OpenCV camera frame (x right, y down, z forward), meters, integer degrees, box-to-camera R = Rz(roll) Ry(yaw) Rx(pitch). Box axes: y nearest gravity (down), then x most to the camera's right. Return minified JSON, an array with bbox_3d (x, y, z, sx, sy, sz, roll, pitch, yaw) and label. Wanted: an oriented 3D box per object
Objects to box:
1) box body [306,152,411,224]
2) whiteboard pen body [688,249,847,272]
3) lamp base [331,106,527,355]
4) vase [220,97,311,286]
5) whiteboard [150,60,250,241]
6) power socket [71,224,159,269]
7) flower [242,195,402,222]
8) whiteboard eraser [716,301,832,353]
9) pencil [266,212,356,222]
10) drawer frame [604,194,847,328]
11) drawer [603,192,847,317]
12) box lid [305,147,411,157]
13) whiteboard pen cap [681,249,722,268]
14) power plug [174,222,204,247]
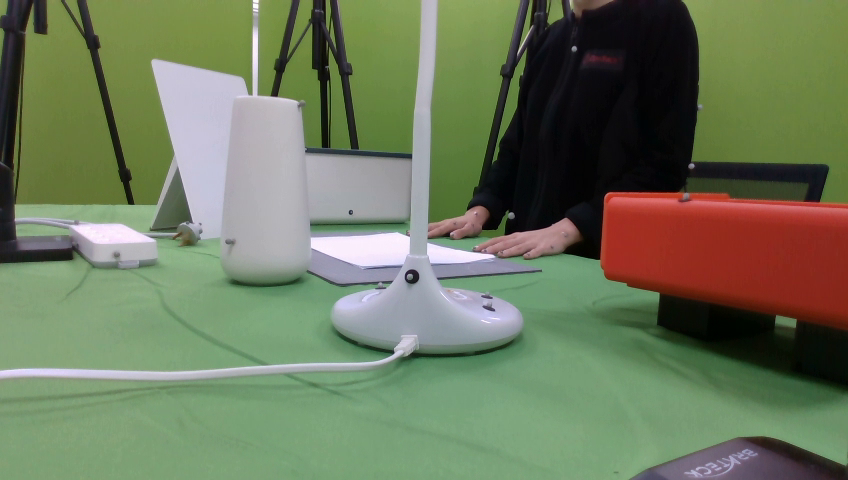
[{"bbox_3d":[-0.230,-0.126,1.371,0.366,0.160,0.253,-2,8,-33],"label":"box body"},{"bbox_3d":[0.304,0.017,0.521,0.140,0.017,0.017,2,7,27],"label":"whiteboard pen body"},{"bbox_3d":[0.006,-0.012,0.478,0.161,0.180,0.179,2,10,2],"label":"lamp base"},{"bbox_3d":[-0.172,-0.052,0.662,0.098,0.200,0.098,3,8,0],"label":"vase"},{"bbox_3d":[-0.408,-0.139,1.093,0.143,0.305,0.218,-15,-1,26],"label":"whiteboard"},{"bbox_3d":[-0.409,0.004,0.793,0.072,0.032,0.225,-2,8,-37],"label":"power socket"},{"bbox_3d":[-0.231,-0.064,1.373,0.362,0.038,0.044,6,40,-2],"label":"flower"},{"bbox_3d":[0.256,0.042,0.472,0.112,0.042,0.056,43,20,31],"label":"whiteboard eraser"},{"bbox_3d":[-0.244,-0.049,1.319,0.195,0.012,0.012,4,7,-12],"label":"pencil"},{"bbox_3d":[0.298,0.007,0.497,0.203,0.082,0.212,-1,7,-34],"label":"drawer frame"},{"bbox_3d":[0.293,0.002,0.500,0.195,0.073,0.210,-1,8,-34],"label":"drawer"},{"bbox_3d":[-0.229,-0.200,1.361,0.373,0.015,0.262,-2,9,-33],"label":"box lid"},{"bbox_3d":[0.250,0.017,0.544,0.033,0.018,0.018,2,7,25],"label":"whiteboard pen cap"},{"bbox_3d":[-0.360,0.000,0.917,0.072,0.035,0.053,-42,4,39],"label":"power plug"}]
